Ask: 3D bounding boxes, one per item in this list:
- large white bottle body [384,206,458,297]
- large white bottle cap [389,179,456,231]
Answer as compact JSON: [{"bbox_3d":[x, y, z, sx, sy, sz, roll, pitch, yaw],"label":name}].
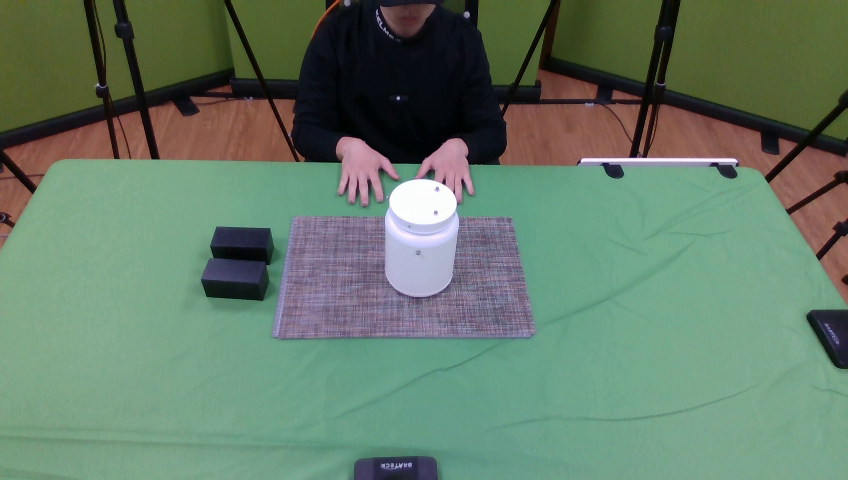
[{"bbox_3d":[-0.006,-0.002,1.082,0.131,0.185,0.130,2,46,-2],"label":"large white bottle body"},{"bbox_3d":[-0.003,-0.060,1.020,0.115,0.018,0.114,2,46,-2],"label":"large white bottle cap"}]
